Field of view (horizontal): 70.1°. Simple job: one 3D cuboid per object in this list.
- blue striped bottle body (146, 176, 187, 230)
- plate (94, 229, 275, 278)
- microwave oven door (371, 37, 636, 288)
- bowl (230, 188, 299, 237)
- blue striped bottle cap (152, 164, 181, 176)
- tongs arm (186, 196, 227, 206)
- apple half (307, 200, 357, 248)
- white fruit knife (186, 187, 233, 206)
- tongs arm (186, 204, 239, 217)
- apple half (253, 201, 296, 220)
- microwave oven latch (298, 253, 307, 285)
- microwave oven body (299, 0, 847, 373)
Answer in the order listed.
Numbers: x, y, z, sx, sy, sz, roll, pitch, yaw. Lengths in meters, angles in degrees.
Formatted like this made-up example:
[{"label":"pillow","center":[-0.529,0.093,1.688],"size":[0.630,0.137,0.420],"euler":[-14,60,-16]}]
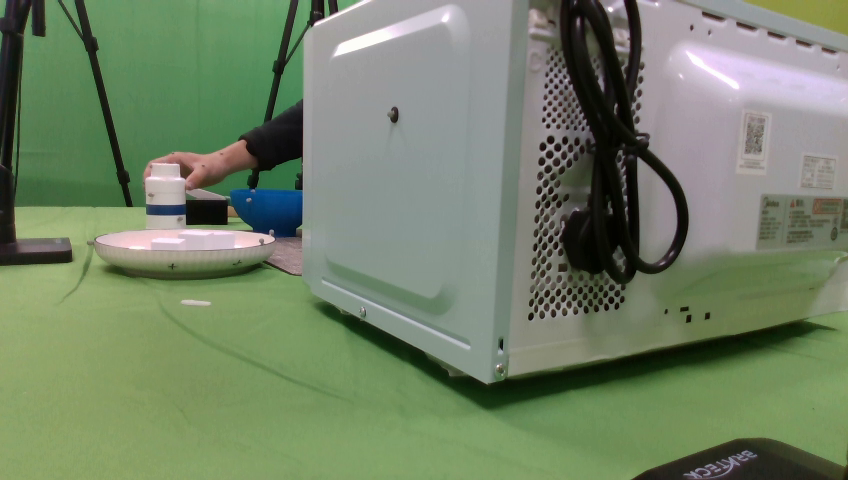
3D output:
[{"label":"blue striped bottle body","center":[-0.429,-0.065,1.009],"size":[0.063,0.120,0.063],"euler":[2,7,0]},{"label":"plate","center":[-0.291,0.016,0.750],"size":[0.208,0.039,0.207],"euler":[2,7,0]},{"label":"microwave oven door","center":[0.109,-0.080,0.686],"size":[0.358,0.243,0.039],"euler":[-2,9,-33]},{"label":"bowl","center":[-0.264,-0.048,1.065],"size":[0.151,0.077,0.151],"euler":[3,8,0]},{"label":"blue striped bottle cap","center":[-0.427,-0.116,1.001],"size":[0.044,0.020,0.044],"euler":[1,6,0]},{"label":"tongs arm","center":[-0.404,-0.081,1.479],"size":[0.385,0.026,0.050],"euler":[3,8,-2]},{"label":"apple half","center":[-0.135,-0.024,0.942],"size":[0.053,0.074,0.081],"euler":[13,9,38]},{"label":"white fruit knife","center":[-0.413,-0.081,1.270],"size":[0.208,0.027,0.016],"euler":[18,14,-41]},{"label":"tongs arm","center":[-0.396,-0.066,1.399],"size":[0.389,0.028,0.028],"euler":[1,5,-15]},{"label":"apple half","center":[-0.264,-0.053,1.067],"size":[0.081,0.033,0.081],"euler":[2,9,0]},{"label":"microwave oven latch","center":[-0.081,0.027,0.582],"size":[0.079,0.029,0.030],"euler":[-2,7,-33]},{"label":"microwave oven body","center":[0.151,-0.055,0.542],"size":[0.444,0.260,0.324],"euler":[-2,7,-33]}]
